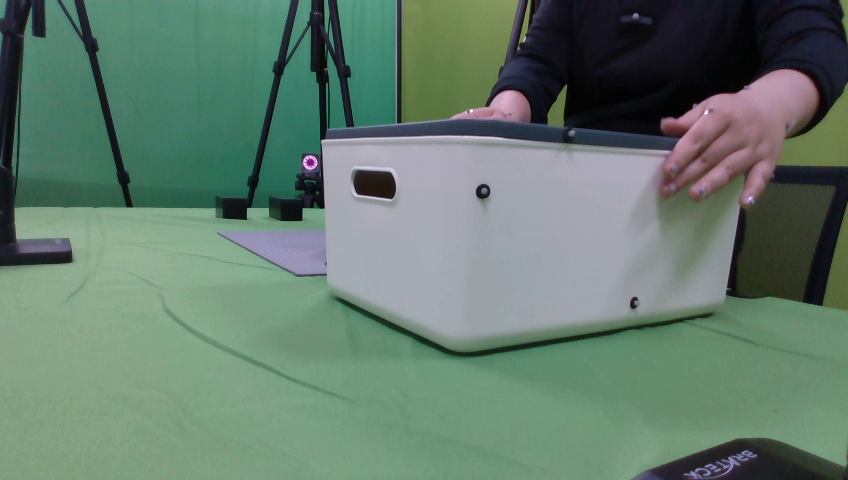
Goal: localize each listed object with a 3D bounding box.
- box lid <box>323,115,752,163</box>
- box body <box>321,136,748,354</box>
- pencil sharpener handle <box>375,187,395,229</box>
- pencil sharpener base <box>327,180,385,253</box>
[{"bbox_3d":[0.111,-0.091,0.602,0.373,0.015,0.262,-1,6,-34],"label":"box lid"},{"bbox_3d":[0.105,-0.012,0.603,0.366,0.160,0.253,-2,8,-33],"label":"box body"},{"bbox_3d":[-0.059,-0.050,0.958,0.031,0.067,0.036,-1,14,-30],"label":"pencil sharpener handle"},{"bbox_3d":[-0.103,-0.037,0.932,0.077,0.107,0.061,-1,8,-30],"label":"pencil sharpener base"}]
